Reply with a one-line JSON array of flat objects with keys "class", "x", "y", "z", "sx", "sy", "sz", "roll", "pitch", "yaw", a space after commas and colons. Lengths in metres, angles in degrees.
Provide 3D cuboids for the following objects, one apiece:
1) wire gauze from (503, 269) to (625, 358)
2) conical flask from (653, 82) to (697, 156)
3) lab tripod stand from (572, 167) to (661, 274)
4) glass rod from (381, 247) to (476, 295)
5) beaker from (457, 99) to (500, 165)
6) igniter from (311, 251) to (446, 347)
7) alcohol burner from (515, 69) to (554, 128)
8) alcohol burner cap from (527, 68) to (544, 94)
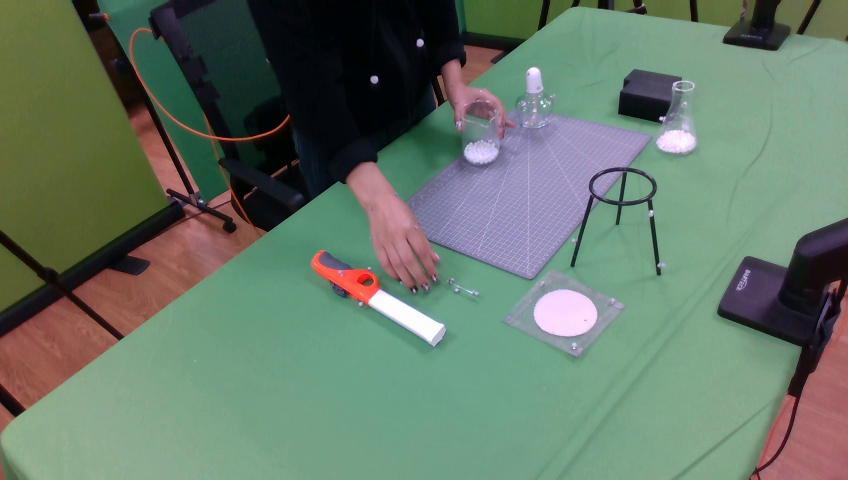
[{"class": "wire gauze", "x": 0.194, "y": 0.100, "z": 0.840, "sx": 0.120, "sy": 0.011, "sz": 0.125, "roll": 27, "pitch": 54, "yaw": 36}, {"class": "conical flask", "x": 0.454, "y": -0.218, "z": 1.077, "sx": 0.075, "sy": 0.122, "sz": 0.075, "roll": -5, "pitch": 40, "yaw": 5}, {"class": "lab tripod stand", "x": 0.283, "y": -0.030, "z": 0.879, "sx": 0.148, "sy": 0.132, "sz": 0.147, "roll": -7, "pitch": 38, "yaw": 6}, {"class": "glass rod", "x": 0.003, "y": 0.046, "z": 0.939, "sx": 0.198, "sy": 0.008, "sz": 0.008, "roll": 24, "pitch": 51, "yaw": 37}, {"class": "beaker", "x": 0.105, "y": -0.195, "z": 1.114, "sx": 0.074, "sy": 0.101, "sz": 0.083, "roll": -16, "pitch": 44, "yaw": -6}, {"class": "igniter", "x": -0.078, "y": 0.081, "z": 0.899, "sx": 0.274, "sy": 0.025, "sz": 0.057, "roll": 27, "pitch": 63, "yaw": 36}, {"class": "alcohol burner", "x": 0.221, "y": -0.285, "z": 1.203, "sx": 0.078, "sy": 0.119, "sz": 0.077, "roll": -4, "pitch": 39, "yaw": 4}, {"class": "alcohol burner cap", "x": 0.216, "y": -0.312, "z": 1.179, "sx": 0.034, "sy": 0.048, "sz": 0.033, "roll": -9, "pitch": 40, "yaw": 9}]
